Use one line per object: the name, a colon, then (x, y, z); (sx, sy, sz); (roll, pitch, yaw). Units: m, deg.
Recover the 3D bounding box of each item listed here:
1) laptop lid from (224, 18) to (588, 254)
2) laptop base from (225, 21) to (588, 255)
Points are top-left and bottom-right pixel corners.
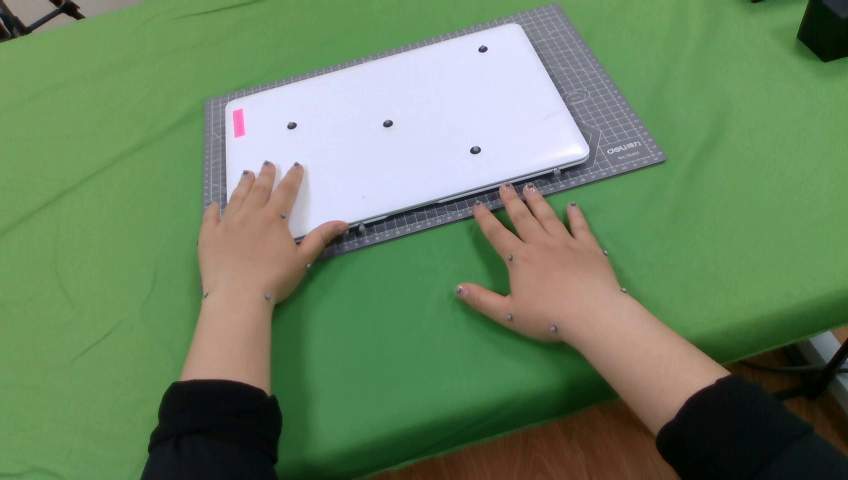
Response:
laptop lid: (-0.038, -0.122, 0.629); (0.357, 0.013, 0.239); (-15, 53, 1)
laptop base: (-0.036, -0.117, 0.640); (0.354, 0.023, 0.233); (-16, 54, 0)
